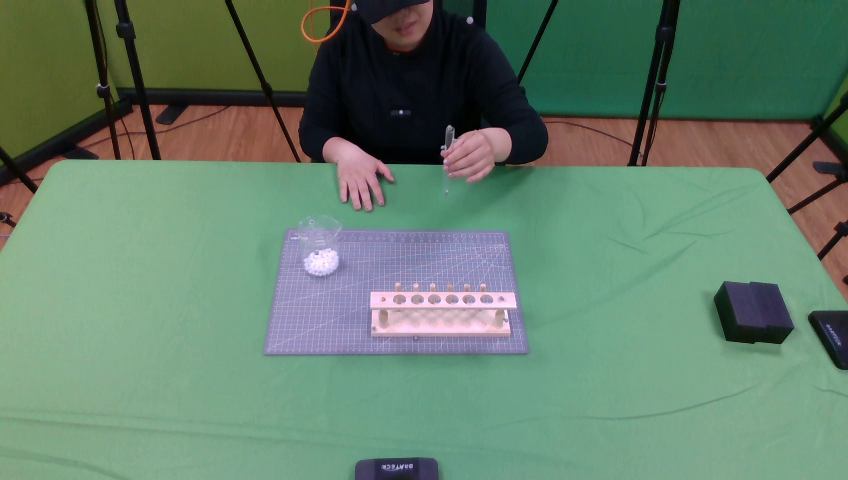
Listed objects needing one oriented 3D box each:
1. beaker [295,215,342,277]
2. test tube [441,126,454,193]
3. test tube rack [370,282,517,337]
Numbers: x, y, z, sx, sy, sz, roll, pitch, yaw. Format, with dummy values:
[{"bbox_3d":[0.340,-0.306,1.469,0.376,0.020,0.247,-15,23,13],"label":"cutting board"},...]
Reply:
[{"bbox_3d":[-0.191,0.013,1.114,0.084,0.101,0.073,-12,49,-17],"label":"beaker"},{"bbox_3d":[0.043,-0.142,1.102,0.017,0.151,0.017,1,47,-1],"label":"test tube"},{"bbox_3d":[0.030,0.116,1.041,0.242,0.085,0.066,1,46,-4],"label":"test tube rack"}]
